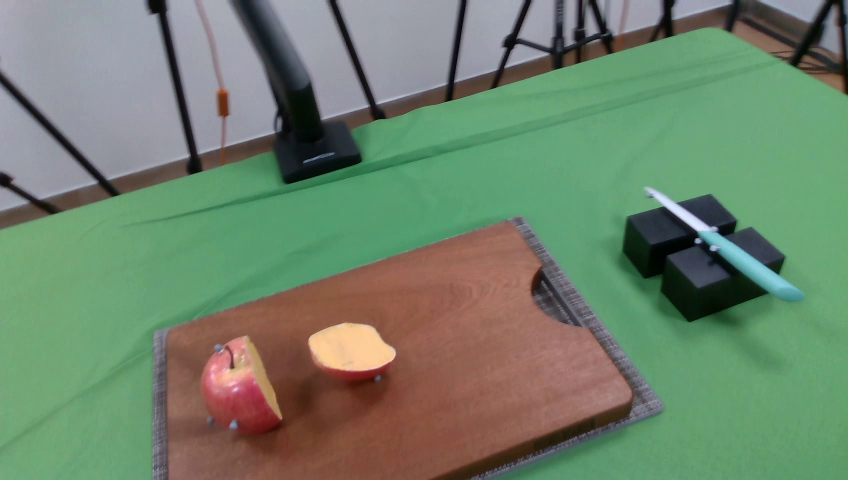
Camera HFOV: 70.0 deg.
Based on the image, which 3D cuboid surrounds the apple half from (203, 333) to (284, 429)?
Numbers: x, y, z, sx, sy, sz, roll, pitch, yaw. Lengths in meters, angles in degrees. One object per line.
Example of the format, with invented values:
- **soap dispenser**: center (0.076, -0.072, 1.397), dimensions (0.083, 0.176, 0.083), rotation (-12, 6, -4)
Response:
- **apple half**: center (-0.162, 0.130, 0.532), dimensions (0.053, 0.075, 0.080), rotation (-26, 48, -11)

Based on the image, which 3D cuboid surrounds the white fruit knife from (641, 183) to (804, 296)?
- **white fruit knife**: center (0.290, -0.008, 0.615), dimensions (0.027, 0.016, 0.205), rotation (-2, 34, -27)

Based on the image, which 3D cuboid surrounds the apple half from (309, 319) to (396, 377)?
- **apple half**: center (-0.070, 0.107, 0.564), dimensions (0.081, 0.033, 0.080), rotation (8, 24, -3)
